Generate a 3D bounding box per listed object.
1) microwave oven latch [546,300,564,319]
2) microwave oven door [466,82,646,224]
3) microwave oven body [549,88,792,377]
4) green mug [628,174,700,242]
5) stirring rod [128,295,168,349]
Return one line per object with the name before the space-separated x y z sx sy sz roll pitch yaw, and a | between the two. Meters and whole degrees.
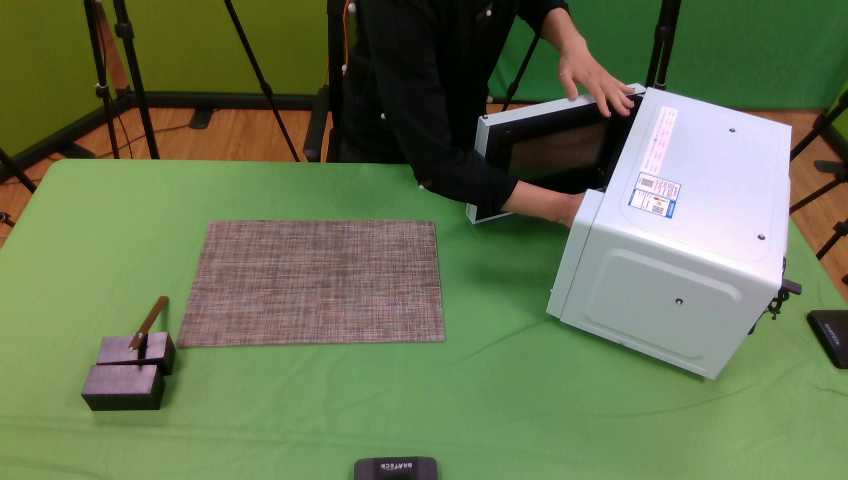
microwave oven latch | 0.242 0.102 1.081 0.030 0.029 0.079 21 48 17
microwave oven door | 0.260 -0.172 1.205 0.356 0.245 0.039 -16 48 -18
microwave oven body | 0.456 -0.028 1.088 0.325 0.261 0.440 20 47 16
green mug | 0.439 -0.055 1.121 0.125 0.105 0.092 -9 44 -9
stirring rod | -0.451 0.131 0.996 0.014 0.006 0.175 9 21 -10
